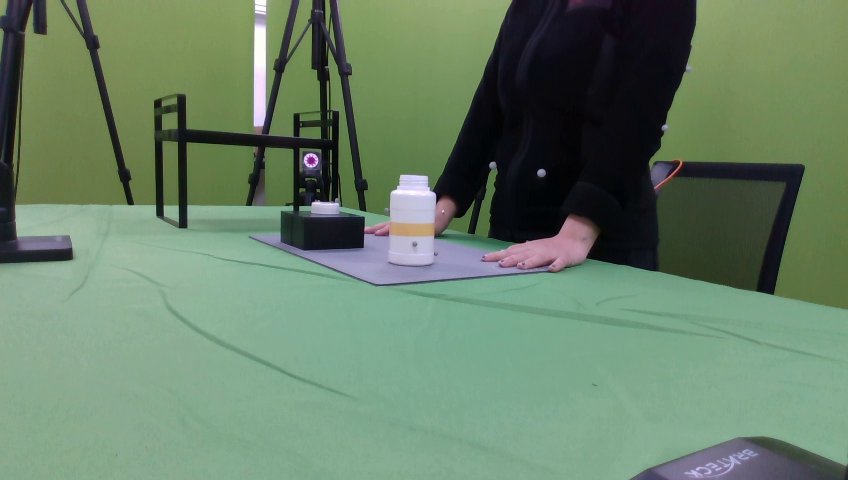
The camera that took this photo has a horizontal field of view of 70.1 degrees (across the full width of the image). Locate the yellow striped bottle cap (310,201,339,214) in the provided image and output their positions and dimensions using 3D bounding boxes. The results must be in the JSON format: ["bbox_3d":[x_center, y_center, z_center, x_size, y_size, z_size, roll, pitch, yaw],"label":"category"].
[{"bbox_3d":[-0.157,-0.051,0.956,0.044,0.018,0.044,4,6,0],"label":"yellow striped bottle cap"}]

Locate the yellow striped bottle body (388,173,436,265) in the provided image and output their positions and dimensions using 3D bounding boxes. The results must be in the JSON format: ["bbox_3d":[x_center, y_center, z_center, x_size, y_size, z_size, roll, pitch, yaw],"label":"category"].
[{"bbox_3d":[-0.016,-0.030,0.813,0.063,0.120,0.063,2,7,0],"label":"yellow striped bottle body"}]
